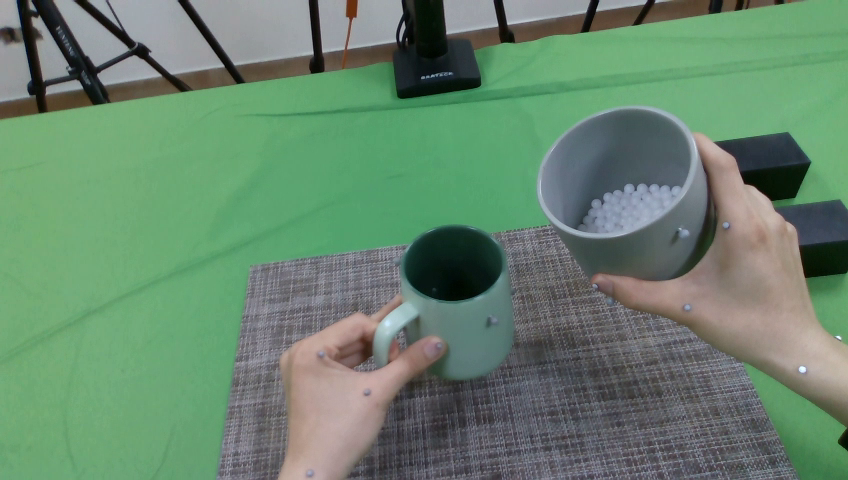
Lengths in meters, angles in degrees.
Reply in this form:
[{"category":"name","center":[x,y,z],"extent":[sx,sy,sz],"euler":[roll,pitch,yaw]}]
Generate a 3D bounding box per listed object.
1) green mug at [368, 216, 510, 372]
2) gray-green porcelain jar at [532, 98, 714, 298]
[{"category":"green mug","center":[0.010,0.054,0.475],"extent":[0.125,0.106,0.091],"euler":[-35,54,-23]},{"category":"gray-green porcelain jar","center":[0.150,-0.023,0.443],"extent":[0.105,0.128,0.105],"euler":[-16,55,24]}]
